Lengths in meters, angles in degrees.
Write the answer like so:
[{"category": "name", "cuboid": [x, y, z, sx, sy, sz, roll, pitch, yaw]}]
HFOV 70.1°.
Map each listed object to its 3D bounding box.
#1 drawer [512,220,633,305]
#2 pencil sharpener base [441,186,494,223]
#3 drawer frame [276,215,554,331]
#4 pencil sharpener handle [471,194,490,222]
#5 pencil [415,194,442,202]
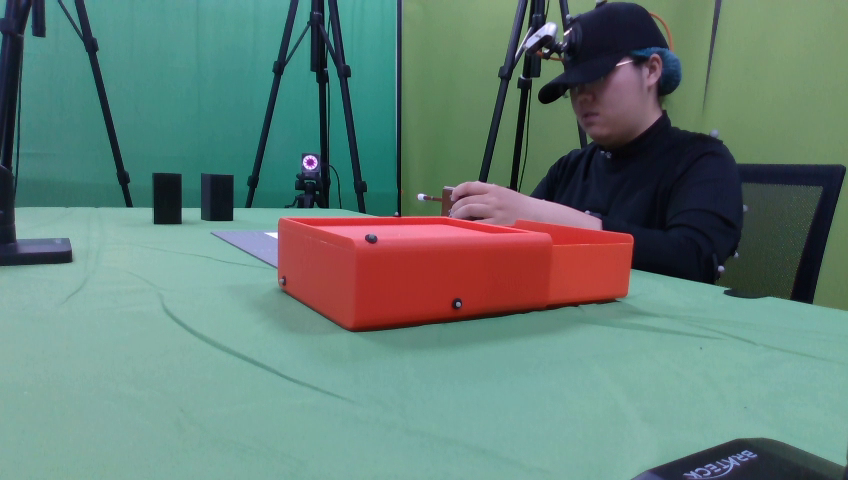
[{"category": "drawer", "cuboid": [0.085, 0.021, 0.674, 0.213, 0.073, 0.193, -2, 9, -32]}, {"category": "pencil sharpener base", "cuboid": [0.070, -0.032, 0.988, 0.061, 0.107, 0.076, -1, 9, -28]}, {"category": "drawer frame", "cuboid": [-0.015, 0.022, 0.610, 0.215, 0.082, 0.200, -2, 9, -32]}, {"category": "pencil sharpener handle", "cuboid": [0.097, -0.037, 0.944, 0.036, 0.068, 0.030, -10, 13, -27]}, {"category": "pencil", "cuboid": [0.033, -0.070, 1.055, 0.012, 0.012, 0.193, -1, 8, -29]}]
